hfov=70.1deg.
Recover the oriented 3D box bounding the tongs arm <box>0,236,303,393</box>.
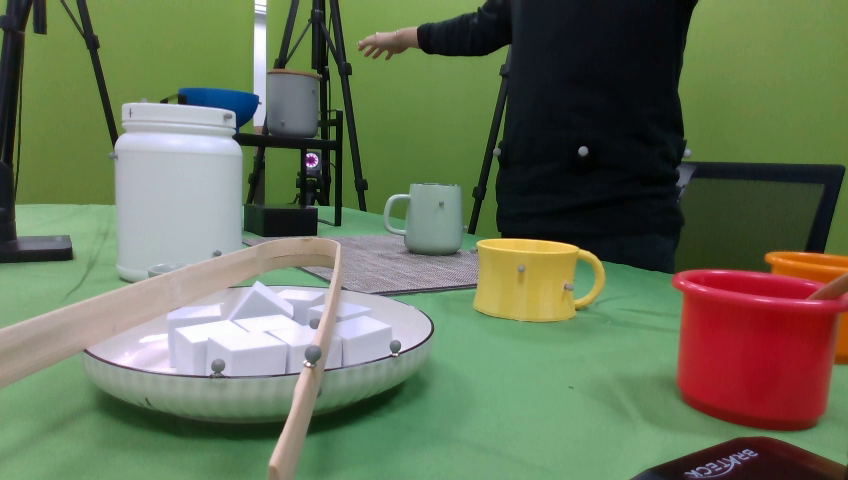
[{"bbox_3d":[-0.158,0.038,0.351,0.028,0.028,0.388,-3,8,12],"label":"tongs arm"}]

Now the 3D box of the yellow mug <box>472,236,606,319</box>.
[{"bbox_3d":[0.114,0.034,0.590,0.131,0.064,0.100,2,6,-7],"label":"yellow mug"}]

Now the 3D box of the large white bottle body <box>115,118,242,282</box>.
[{"bbox_3d":[-0.270,-0.051,0.674,0.131,0.184,0.130,2,8,0],"label":"large white bottle body"}]

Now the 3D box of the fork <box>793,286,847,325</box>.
[{"bbox_3d":[0.332,0.019,0.443,0.028,0.018,0.207,-3,-35,-16],"label":"fork"}]

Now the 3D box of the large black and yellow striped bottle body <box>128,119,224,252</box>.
[{"bbox_3d":[-0.361,-0.081,0.887,0.131,0.184,0.130,2,8,0],"label":"large black and yellow striped bottle body"}]

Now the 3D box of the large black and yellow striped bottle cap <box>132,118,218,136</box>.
[{"bbox_3d":[-0.359,-0.164,0.875,0.115,0.019,0.115,2,6,0],"label":"large black and yellow striped bottle cap"}]

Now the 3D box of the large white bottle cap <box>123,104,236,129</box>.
[{"bbox_3d":[-0.266,-0.134,0.663,0.115,0.018,0.115,3,7,0],"label":"large white bottle cap"}]

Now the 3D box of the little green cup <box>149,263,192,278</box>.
[{"bbox_3d":[-0.207,0.043,0.531,0.061,0.038,0.061,3,6,0],"label":"little green cup"}]

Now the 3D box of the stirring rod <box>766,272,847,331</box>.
[{"bbox_3d":[0.352,0.021,0.481,0.176,0.006,0.014,-40,-9,17],"label":"stirring rod"}]

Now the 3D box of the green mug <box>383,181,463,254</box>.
[{"bbox_3d":[-0.001,-0.036,0.922,0.126,0.105,0.092,0,8,-16],"label":"green mug"}]

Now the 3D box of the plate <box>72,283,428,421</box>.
[{"bbox_3d":[-0.102,0.066,0.381,0.208,0.039,0.207,2,7,0],"label":"plate"}]

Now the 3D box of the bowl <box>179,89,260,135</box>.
[{"bbox_3d":[-0.400,-0.248,1.188,0.151,0.077,0.151,2,6,0],"label":"bowl"}]

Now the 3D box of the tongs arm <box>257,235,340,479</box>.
[{"bbox_3d":[-0.074,0.039,0.349,0.051,0.026,0.384,-2,9,-2],"label":"tongs arm"}]

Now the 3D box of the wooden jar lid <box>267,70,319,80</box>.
[{"bbox_3d":[-0.275,-0.340,1.271,0.108,0.020,0.108,5,6,0],"label":"wooden jar lid"}]

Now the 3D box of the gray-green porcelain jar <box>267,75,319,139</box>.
[{"bbox_3d":[-0.277,-0.279,1.280,0.106,0.126,0.106,2,8,0],"label":"gray-green porcelain jar"}]

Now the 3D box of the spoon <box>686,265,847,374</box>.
[{"bbox_3d":[0.214,0.032,0.327,0.042,0.021,0.193,-2,-35,-26],"label":"spoon"}]
